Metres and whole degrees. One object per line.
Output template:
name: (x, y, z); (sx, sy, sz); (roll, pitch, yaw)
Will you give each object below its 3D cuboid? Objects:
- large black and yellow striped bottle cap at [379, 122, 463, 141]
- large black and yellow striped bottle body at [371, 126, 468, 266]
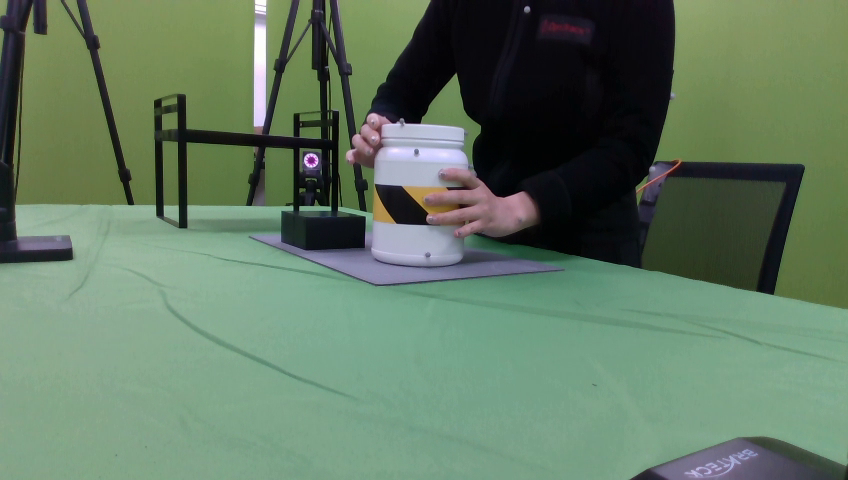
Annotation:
large black and yellow striped bottle cap: (-0.003, -0.147, 0.824); (0.115, 0.019, 0.115); (3, 8, 0)
large black and yellow striped bottle body: (-0.006, -0.064, 0.835); (0.131, 0.184, 0.130); (2, 7, 0)
